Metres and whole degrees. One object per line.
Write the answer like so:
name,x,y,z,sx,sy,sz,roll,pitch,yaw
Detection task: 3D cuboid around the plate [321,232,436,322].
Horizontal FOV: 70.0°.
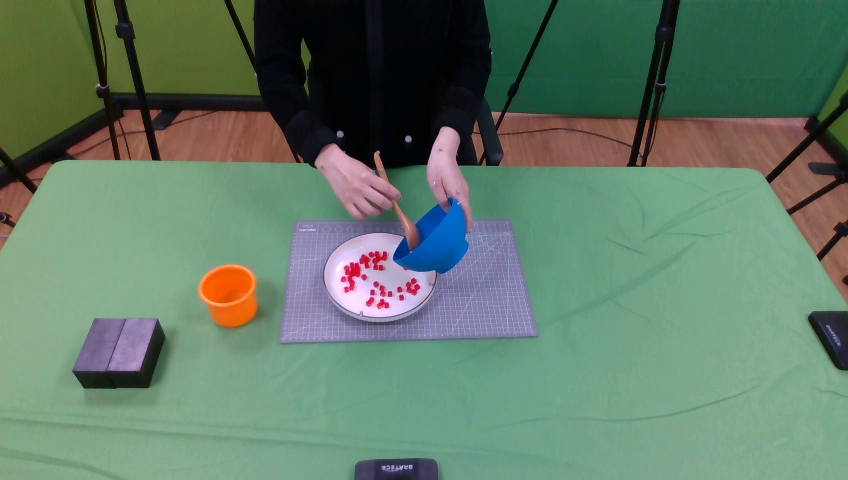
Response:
plate,-0.083,0.070,1.109,0.209,0.038,0.208,3,46,-2

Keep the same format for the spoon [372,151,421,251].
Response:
spoon,-0.048,-0.062,1.033,0.021,0.194,0.041,-10,25,40

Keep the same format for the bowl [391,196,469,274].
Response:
bowl,0.023,0.005,1.034,0.077,0.151,0.151,44,48,-13
